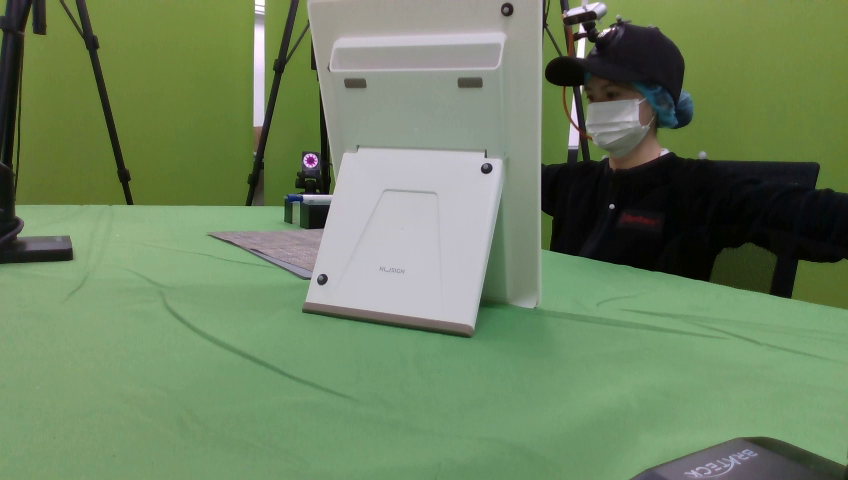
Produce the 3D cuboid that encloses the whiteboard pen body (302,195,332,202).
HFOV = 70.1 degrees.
[{"bbox_3d":[-0.211,-0.086,1.253,0.141,0.017,0.017,-2,9,-36],"label":"whiteboard pen body"}]

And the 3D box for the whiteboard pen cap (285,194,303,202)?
[{"bbox_3d":[-0.261,-0.085,1.218,0.033,0.018,0.018,-4,10,-38],"label":"whiteboard pen cap"}]

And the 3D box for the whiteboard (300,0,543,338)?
[{"bbox_3d":[-0.020,-0.050,0.523,0.216,0.305,0.144,6,27,22],"label":"whiteboard"}]
